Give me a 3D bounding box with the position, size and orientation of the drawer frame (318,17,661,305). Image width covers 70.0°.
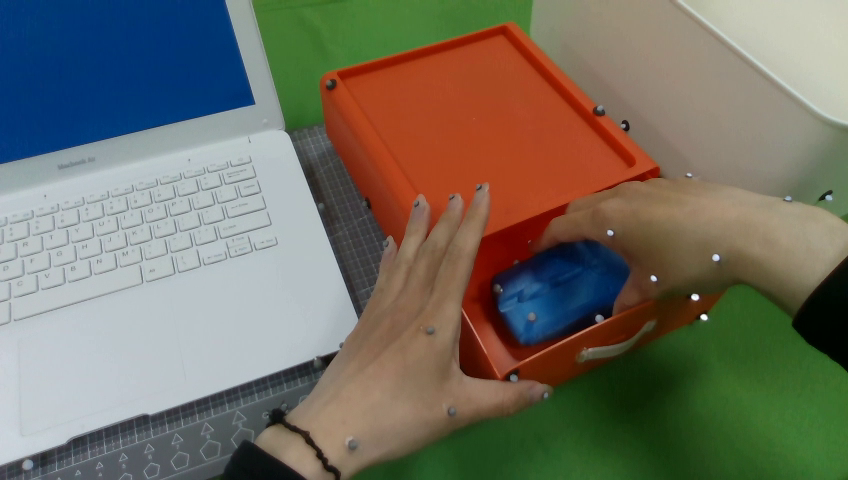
[{"bbox_3d":[0.045,-0.077,0.511,0.202,0.083,0.211,-23,57,-17],"label":"drawer frame"}]

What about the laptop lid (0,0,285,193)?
[{"bbox_3d":[-0.311,-0.156,0.475,0.357,0.243,0.013,-19,26,-13],"label":"laptop lid"}]

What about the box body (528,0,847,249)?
[{"bbox_3d":[0.288,-0.191,0.554,0.254,0.162,0.360,-21,57,-16],"label":"box body"}]

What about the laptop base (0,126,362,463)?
[{"bbox_3d":[-0.248,0.035,0.463,0.355,0.023,0.233,-17,59,-14],"label":"laptop base"}]

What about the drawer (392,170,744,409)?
[{"bbox_3d":[0.088,-0.007,0.463,0.195,0.074,0.209,-21,56,-17],"label":"drawer"}]

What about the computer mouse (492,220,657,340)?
[{"bbox_3d":[0.110,0.027,0.448,0.117,0.041,0.062,-21,60,-4],"label":"computer mouse"}]
